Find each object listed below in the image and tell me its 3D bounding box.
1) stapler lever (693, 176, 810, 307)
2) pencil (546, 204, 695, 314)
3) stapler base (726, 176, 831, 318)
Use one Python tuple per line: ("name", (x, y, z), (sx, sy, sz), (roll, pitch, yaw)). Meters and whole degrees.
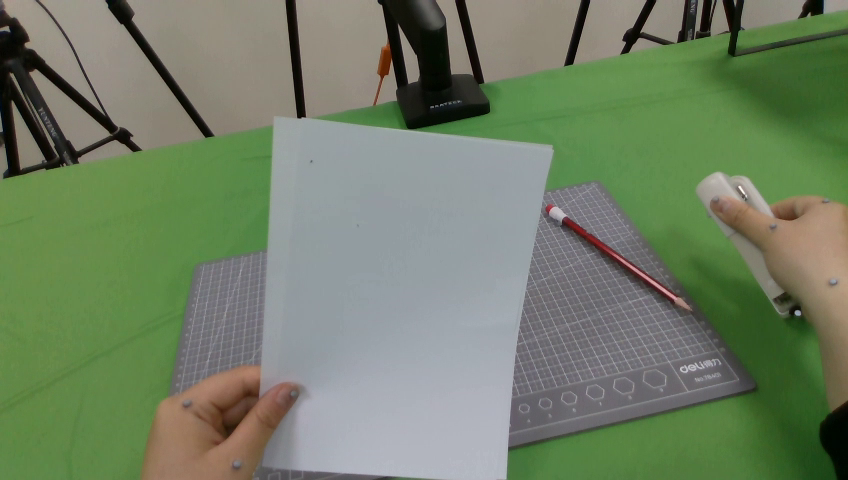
("stapler lever", (0.259, -0.003, 0.488), (0.040, 0.027, 0.117), (11, 46, -36))
("pencil", (0.178, 0.013, 0.570), (0.012, 0.012, 0.192), (-24, 41, -18))
("stapler base", (0.277, 0.001, 0.504), (0.024, 0.041, 0.129), (9, 47, -37))
